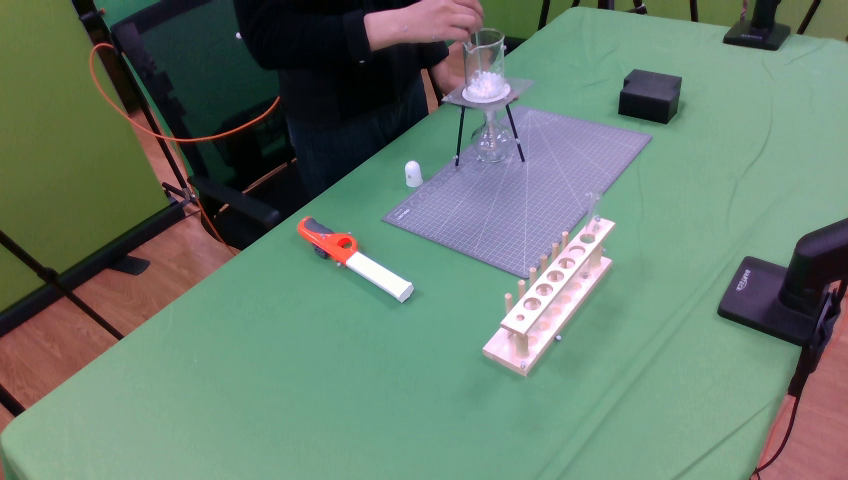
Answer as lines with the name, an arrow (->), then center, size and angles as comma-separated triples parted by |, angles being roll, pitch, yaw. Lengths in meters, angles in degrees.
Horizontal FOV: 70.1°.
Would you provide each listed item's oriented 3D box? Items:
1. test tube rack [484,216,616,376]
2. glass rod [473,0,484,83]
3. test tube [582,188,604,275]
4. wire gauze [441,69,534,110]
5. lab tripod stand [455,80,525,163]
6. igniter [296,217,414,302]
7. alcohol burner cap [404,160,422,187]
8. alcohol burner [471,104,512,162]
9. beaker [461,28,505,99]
test tube rack -> 0.174, 0.064, 0.823 | 0.066, 0.085, 0.243 | 23, 49, 33
glass rod -> 0.092, -0.354, 1.029 | 0.008, 0.201, 0.008 | -6, 47, 7
test tube -> 0.228, -0.007, 0.821 | 0.017, 0.151, 0.017 | -3, 42, 3
wire gauze -> 0.114, -0.268, 1.082 | 0.120, 0.011, 0.125 | 22, 47, 29
lab tripod stand -> 0.120, -0.219, 1.126 | 0.148, 0.132, 0.147 | -4, 40, 4
igniter -> -0.121, 0.025, 0.970 | 0.274, 0.025, 0.057 | 29, 63, 37
alcohol burner cap -> -0.022, -0.125, 1.118 | 0.034, 0.048, 0.033 | -4, 40, 4
alcohol burner -> 0.125, -0.207, 1.126 | 0.078, 0.119, 0.077 | -5, 43, 5
beaker -> 0.103, -0.304, 1.051 | 0.073, 0.101, 0.084 | 19, 48, 29
